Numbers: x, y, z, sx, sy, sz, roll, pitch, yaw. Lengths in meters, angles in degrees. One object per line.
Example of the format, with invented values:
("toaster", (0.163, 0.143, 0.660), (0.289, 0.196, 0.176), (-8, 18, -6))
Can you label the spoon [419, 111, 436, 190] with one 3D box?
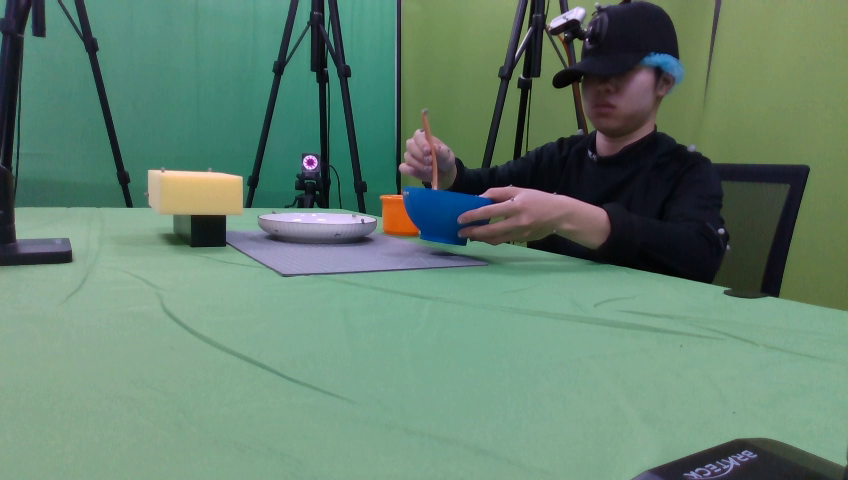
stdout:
("spoon", (0.011, -0.107, 0.946), (0.022, 0.193, 0.041), (-5, -3, -10))

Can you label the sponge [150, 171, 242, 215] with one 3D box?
("sponge", (-0.379, -0.079, 0.994), (0.119, 0.061, 0.206), (-1, 8, -29))

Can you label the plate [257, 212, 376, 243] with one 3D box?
("plate", (-0.189, -0.023, 1.072), (0.209, 0.038, 0.209), (3, 7, 0))

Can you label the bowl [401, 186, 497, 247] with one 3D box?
("bowl", (0.033, -0.033, 0.939), (0.151, 0.077, 0.151), (9, 2, 0))
